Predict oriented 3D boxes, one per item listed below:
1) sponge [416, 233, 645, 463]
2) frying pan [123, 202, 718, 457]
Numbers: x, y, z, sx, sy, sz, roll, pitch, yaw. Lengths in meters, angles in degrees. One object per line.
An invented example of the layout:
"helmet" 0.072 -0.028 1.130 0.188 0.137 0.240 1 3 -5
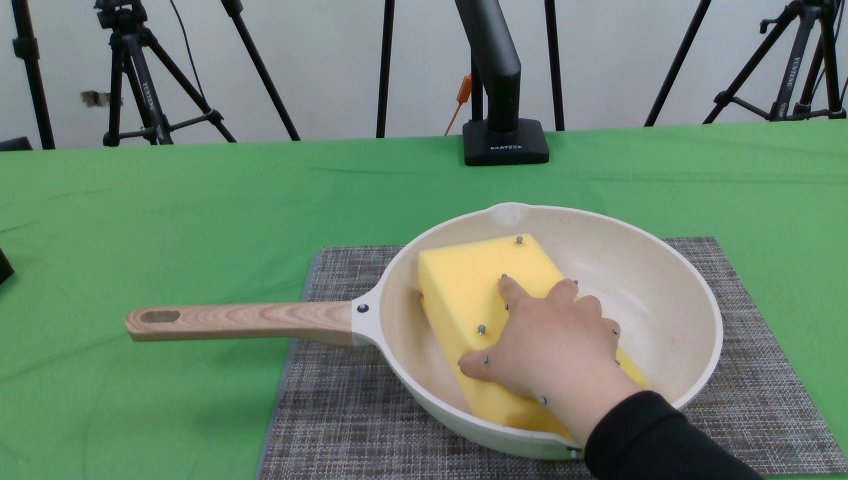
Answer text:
"sponge" 0.079 0.081 0.532 0.118 0.061 0.204 -10 36 -16
"frying pan" -0.004 0.069 0.530 0.489 0.103 0.303 2 35 -7
